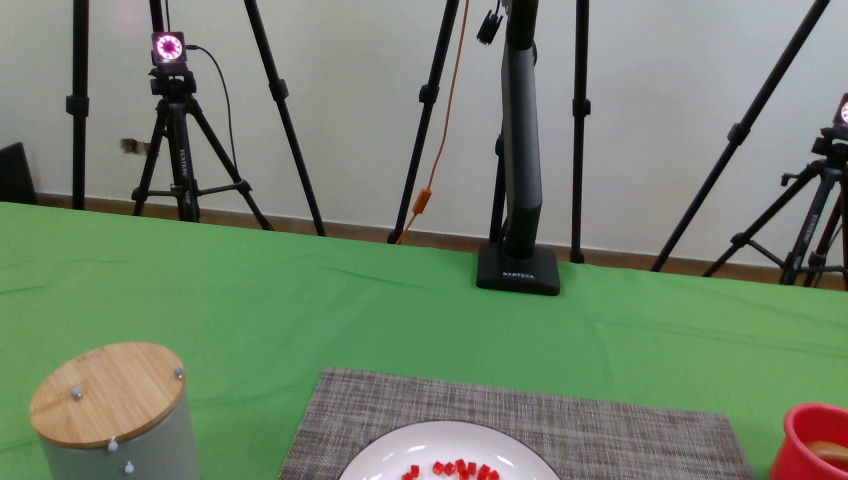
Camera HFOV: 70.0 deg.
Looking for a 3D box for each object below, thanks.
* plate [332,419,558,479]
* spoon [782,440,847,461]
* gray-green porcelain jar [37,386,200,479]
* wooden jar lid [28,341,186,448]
[{"bbox_3d":[0.020,0.239,0.503,0.208,0.039,0.206,3,29,-2],"label":"plate"},{"bbox_3d":[0.402,0.190,0.525,0.042,0.021,0.193,-7,-9,-26],"label":"spoon"},{"bbox_3d":[-0.244,0.176,0.497,0.106,0.127,0.105,4,30,-2],"label":"gray-green porcelain jar"},{"bbox_3d":[-0.239,0.120,0.465,0.108,0.021,0.107,3,31,-2],"label":"wooden jar lid"}]
